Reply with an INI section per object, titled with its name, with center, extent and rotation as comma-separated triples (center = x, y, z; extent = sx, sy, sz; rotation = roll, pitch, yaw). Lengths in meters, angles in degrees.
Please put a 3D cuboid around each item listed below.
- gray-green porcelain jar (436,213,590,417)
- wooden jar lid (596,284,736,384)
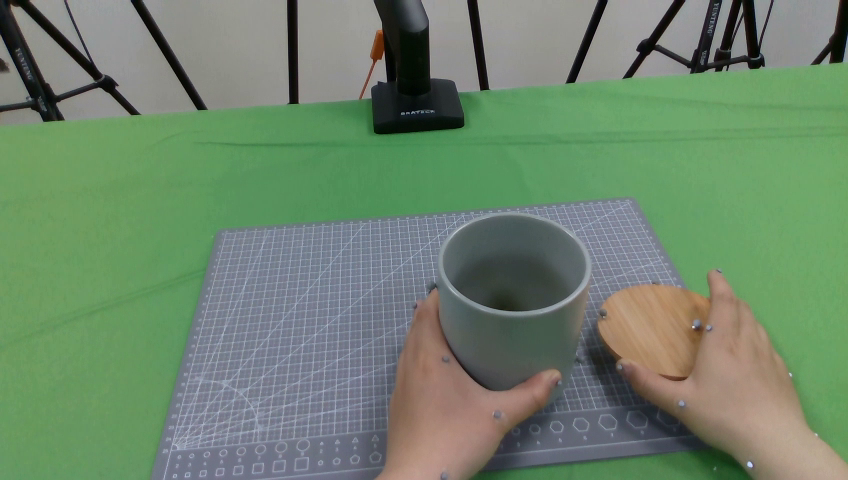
[gray-green porcelain jar]
center = 0.062, 0.061, 0.453
extent = 0.106, 0.127, 0.105
rotation = -1, 41, 2
[wooden jar lid]
center = 0.197, 0.078, 0.500
extent = 0.108, 0.021, 0.107
rotation = -4, 35, 3
